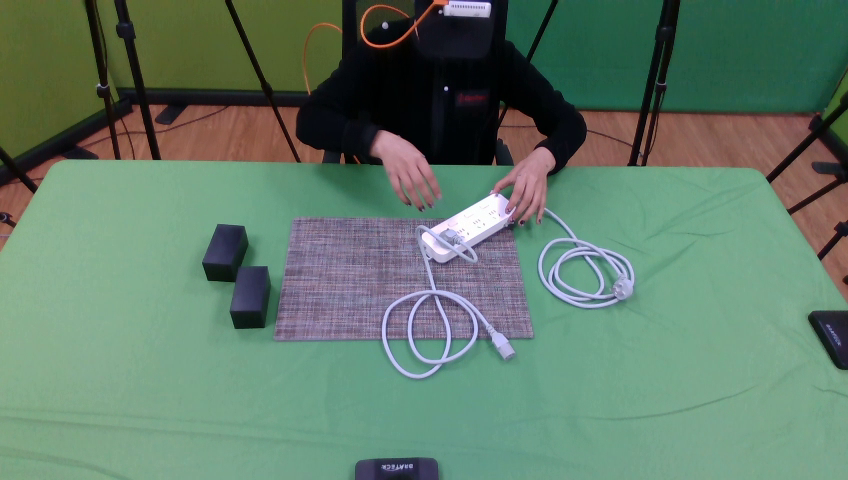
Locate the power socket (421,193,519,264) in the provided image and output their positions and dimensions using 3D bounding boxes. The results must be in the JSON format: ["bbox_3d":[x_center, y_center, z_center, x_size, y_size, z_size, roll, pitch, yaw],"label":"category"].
[{"bbox_3d":[0.093,-0.026,1.207,0.227,0.033,0.072,-29,55,-24],"label":"power socket"}]

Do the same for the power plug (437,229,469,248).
[{"bbox_3d":[0.052,0.009,1.145,0.035,0.053,0.072,-20,50,-17],"label":"power plug"}]
